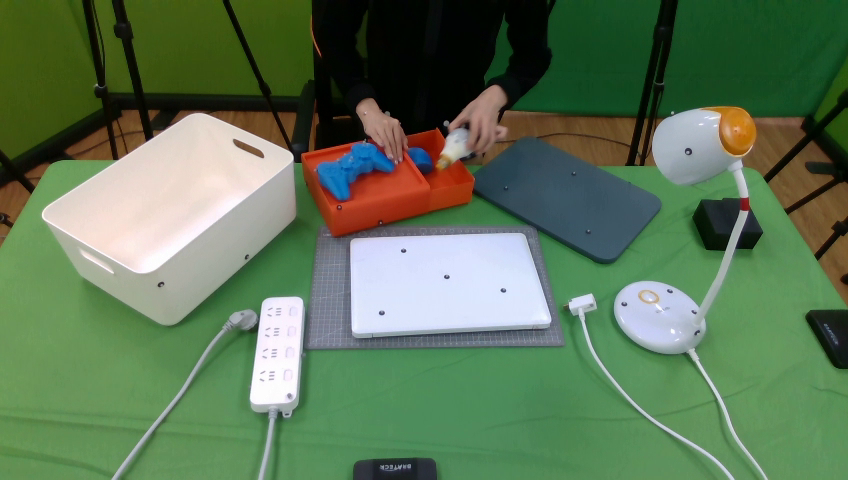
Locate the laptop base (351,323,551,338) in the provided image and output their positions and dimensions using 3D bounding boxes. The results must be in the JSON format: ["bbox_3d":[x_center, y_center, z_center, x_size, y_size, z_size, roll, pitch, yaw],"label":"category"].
[{"bbox_3d":[0.039,0.080,1.125,0.355,0.023,0.234,-2,43,-6],"label":"laptop base"}]

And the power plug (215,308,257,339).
[{"bbox_3d":[-0.317,0.143,1.024,0.072,0.053,0.035,-32,58,-9],"label":"power plug"}]

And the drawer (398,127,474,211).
[{"bbox_3d":[-0.029,-0.143,1.295,0.212,0.073,0.193,-15,50,-19],"label":"drawer"}]

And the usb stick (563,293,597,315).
[{"bbox_3d":[0.280,0.118,1.093,0.059,0.021,0.027,-18,35,25],"label":"usb stick"}]

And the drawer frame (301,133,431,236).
[{"bbox_3d":[-0.122,-0.120,1.260,0.214,0.083,0.200,-16,50,-20],"label":"drawer frame"}]

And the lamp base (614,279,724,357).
[{"bbox_3d":[0.436,0.090,1.035,0.161,0.181,0.178,-23,55,-23],"label":"lamp base"}]

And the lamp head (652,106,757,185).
[{"bbox_3d":[0.410,-0.139,0.869,0.113,0.122,0.112,0,89,-19],"label":"lamp head"}]

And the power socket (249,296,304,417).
[{"bbox_3d":[-0.239,0.182,0.996,0.072,0.033,0.225,-2,47,-5],"label":"power socket"}]

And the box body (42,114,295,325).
[{"bbox_3d":[-0.437,-0.046,1.110,0.253,0.161,0.363,24,49,19],"label":"box body"}]

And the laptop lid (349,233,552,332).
[{"bbox_3d":[0.040,0.070,1.119,0.357,0.013,0.240,-1,44,-5],"label":"laptop lid"}]

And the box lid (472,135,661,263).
[{"bbox_3d":[0.306,-0.102,1.327,0.370,0.015,0.263,32,52,25],"label":"box lid"}]

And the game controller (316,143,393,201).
[{"bbox_3d":[-0.144,-0.146,1.212,0.096,0.052,0.155,32,50,29],"label":"game controller"}]

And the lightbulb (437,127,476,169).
[{"bbox_3d":[0.062,-0.184,1.228,0.059,0.060,0.107,30,66,22],"label":"lightbulb"}]
